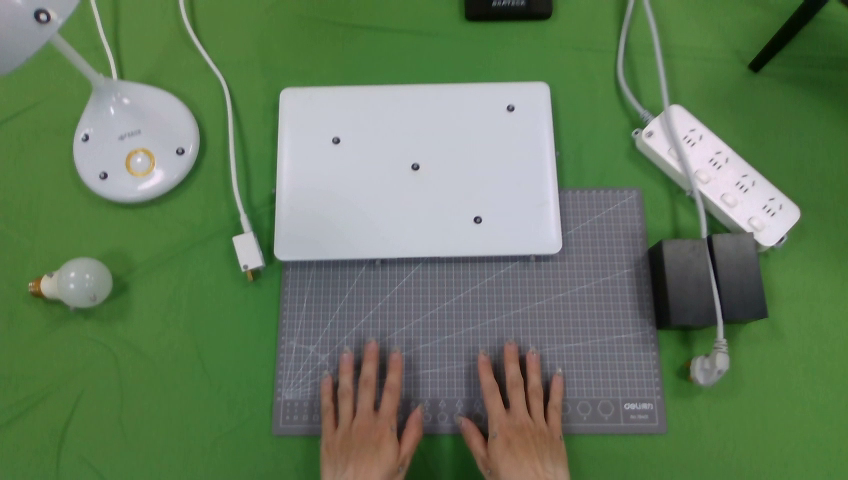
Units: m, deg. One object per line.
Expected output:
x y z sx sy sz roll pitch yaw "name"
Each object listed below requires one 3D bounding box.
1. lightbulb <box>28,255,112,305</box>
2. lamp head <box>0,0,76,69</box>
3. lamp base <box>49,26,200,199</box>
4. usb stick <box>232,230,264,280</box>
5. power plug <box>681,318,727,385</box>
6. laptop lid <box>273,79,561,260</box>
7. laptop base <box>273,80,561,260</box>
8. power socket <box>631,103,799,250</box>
-0.424 0.049 0.719 0.107 0.060 0.059 -6 74 15 "lightbulb"
-0.333 -0.204 0.438 0.112 0.124 0.111 -21 48 26 "lamp head"
-0.377 -0.159 0.707 0.160 0.181 0.178 -31 74 -8 "lamp base"
-0.213 0.019 0.738 0.027 0.021 0.059 -14 85 -5 "usb stick"
0.323 0.131 0.694 0.035 0.052 0.072 30 68 -17 "power plug"
-0.011 -0.093 0.759 0.357 0.013 0.240 0 76 1 "laptop lid"
-0.010 -0.092 0.771 0.354 0.023 0.234 -1 77 0 "laptop base"
0.363 -0.081 0.756 0.072 0.033 0.225 -42 78 -10 "power socket"
